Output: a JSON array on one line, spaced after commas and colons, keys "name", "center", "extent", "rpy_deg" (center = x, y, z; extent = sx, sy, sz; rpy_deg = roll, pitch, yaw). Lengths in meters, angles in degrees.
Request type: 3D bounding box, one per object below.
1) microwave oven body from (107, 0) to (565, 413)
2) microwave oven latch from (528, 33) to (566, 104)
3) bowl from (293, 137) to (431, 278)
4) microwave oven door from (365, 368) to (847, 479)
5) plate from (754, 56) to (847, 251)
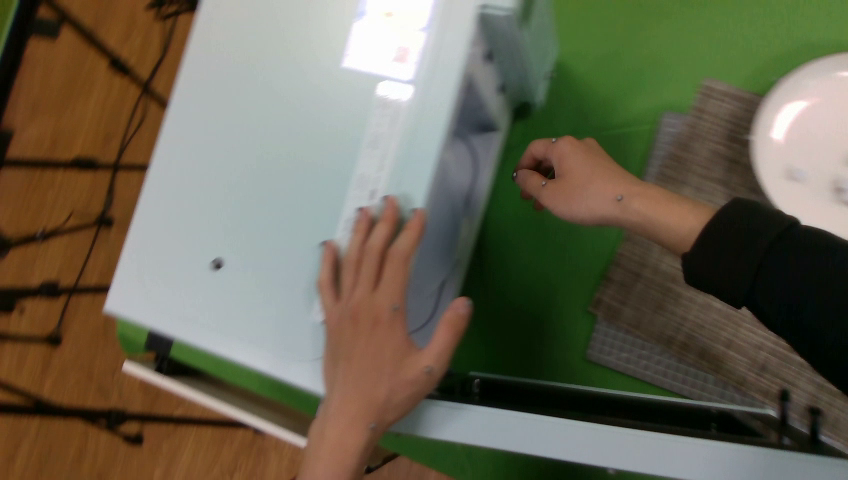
[{"name": "microwave oven body", "center": [-0.074, -0.090, 0.648], "extent": [0.324, 0.261, 0.441], "rpy_deg": [18, 88, 16]}, {"name": "microwave oven latch", "center": [0.143, -0.202, 0.704], "extent": [0.030, 0.029, 0.079], "rpy_deg": [18, 89, 16]}, {"name": "bowl", "center": [-0.058, -0.029, 0.667], "extent": [0.151, 0.077, 0.151], "rpy_deg": [-2, 81, 14]}, {"name": "microwave oven door", "center": [0.153, 0.163, 0.550], "extent": [0.354, 0.245, 0.039], "rpy_deg": [4, 83, 16]}, {"name": "plate", "center": [0.451, -0.086, 0.620], "extent": [0.208, 0.038, 0.208], "rpy_deg": [-2, 81, 15]}]
